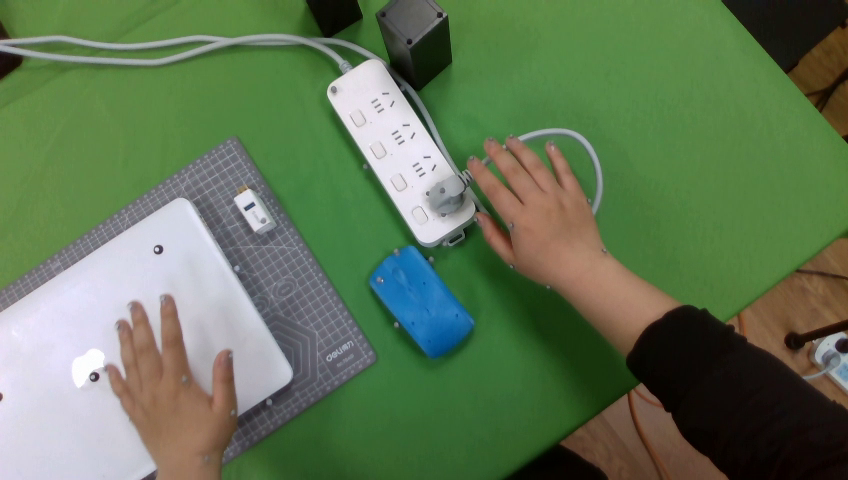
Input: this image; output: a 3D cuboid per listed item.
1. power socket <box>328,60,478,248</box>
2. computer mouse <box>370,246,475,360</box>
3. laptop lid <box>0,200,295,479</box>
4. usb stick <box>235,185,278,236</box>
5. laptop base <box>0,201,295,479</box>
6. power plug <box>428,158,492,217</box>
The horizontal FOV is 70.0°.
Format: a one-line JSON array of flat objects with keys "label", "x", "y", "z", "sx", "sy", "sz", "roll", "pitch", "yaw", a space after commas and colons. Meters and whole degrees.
[{"label": "power socket", "x": -0.024, "y": -0.093, "z": 0.648, "sx": 0.072, "sy": 0.033, "sz": 0.226, "roll": -32, "pitch": 81, "yaw": 0}, {"label": "computer mouse", "x": -0.003, "y": 0.063, "z": 0.622, "sx": 0.063, "sy": 0.041, "sz": 0.116, "roll": -39, "pitch": 76, "yaw": 0}, {"label": "laptop lid", "x": -0.338, "y": 0.145, "z": 0.635, "sx": 0.357, "sy": 0.013, "sz": 0.241, "roll": -32, "pitch": 83, "yaw": 0}, {"label": "usb stick", "x": -0.184, "y": -0.035, "z": 0.653, "sx": 0.021, "sy": 0.027, "sz": 0.059, "roll": -34, "pitch": 79, "yaw": 3}, {"label": "laptop base", "x": -0.339, "y": 0.145, "z": 0.646, "sx": 0.354, "sy": 0.023, "sz": 0.235, "roll": -34, "pitch": 84, "yaw": -1}, {"label": "power plug", "x": 0.040, "y": -0.049, "z": 0.616, "sx": 0.072, "sy": 0.053, "sz": 0.035, "roll": -21, "pitch": 82, "yaw": 0}]
